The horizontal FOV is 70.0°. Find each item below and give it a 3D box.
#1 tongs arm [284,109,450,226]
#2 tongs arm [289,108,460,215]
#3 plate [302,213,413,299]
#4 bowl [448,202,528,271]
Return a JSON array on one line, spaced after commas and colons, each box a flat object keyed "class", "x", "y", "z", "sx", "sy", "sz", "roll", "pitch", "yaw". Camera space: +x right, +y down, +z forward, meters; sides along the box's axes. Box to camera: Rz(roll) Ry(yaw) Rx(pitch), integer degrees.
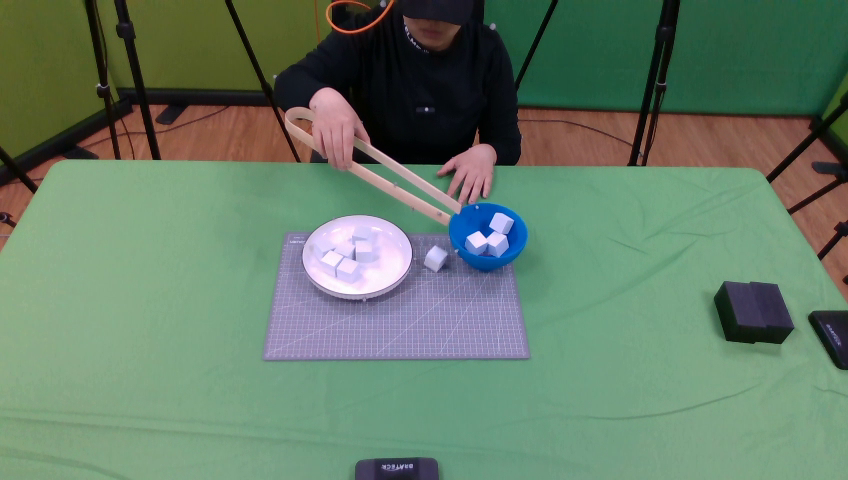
[{"class": "tongs arm", "x": -0.110, "y": -0.137, "z": 1.115, "sx": 0.384, "sy": 0.026, "sz": 0.050, "roll": 29, "pitch": 51, "yaw": 12}, {"class": "tongs arm", "x": -0.096, "y": -0.151, "z": 1.130, "sx": 0.386, "sy": 0.028, "sz": 0.028, "roll": 32, "pitch": 55, "yaw": 14}, {"class": "plate", "x": -0.124, "y": 0.033, "z": 1.143, "sx": 0.208, "sy": 0.039, "sz": 0.206, "roll": 2, "pitch": 46, "yaw": -2}, {"class": "bowl", "x": 0.118, "y": 0.006, "z": 1.160, "sx": 0.151, "sy": 0.077, "sz": 0.150, "roll": 2, "pitch": 46, "yaw": -2}]
